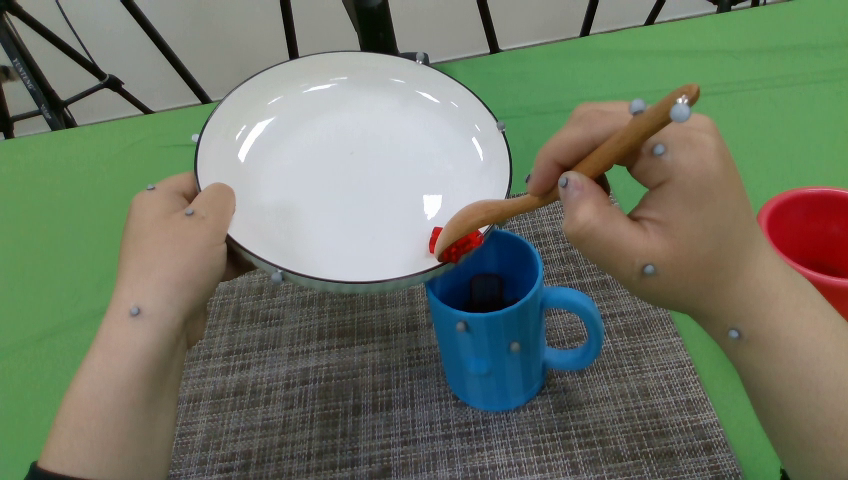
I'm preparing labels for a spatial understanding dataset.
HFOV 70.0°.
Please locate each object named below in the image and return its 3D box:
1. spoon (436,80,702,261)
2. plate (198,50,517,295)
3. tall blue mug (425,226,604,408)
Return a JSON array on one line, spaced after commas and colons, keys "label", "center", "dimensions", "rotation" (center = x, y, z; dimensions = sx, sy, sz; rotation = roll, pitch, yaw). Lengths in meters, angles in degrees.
[{"label": "spoon", "center": [0.053, -0.023, 0.282], "dimensions": [0.041, 0.193, 0.022], "rotation": [-40, 96, -29]}, {"label": "plate", "center": [-0.042, -0.049, 0.414], "dimensions": [0.208, 0.039, 0.205], "rotation": [3, 55, -4]}, {"label": "tall blue mug", "center": [0.061, 0.051, 0.418], "dimensions": [0.107, 0.109, 0.077], "rotation": [-14, 43, -2]}]
